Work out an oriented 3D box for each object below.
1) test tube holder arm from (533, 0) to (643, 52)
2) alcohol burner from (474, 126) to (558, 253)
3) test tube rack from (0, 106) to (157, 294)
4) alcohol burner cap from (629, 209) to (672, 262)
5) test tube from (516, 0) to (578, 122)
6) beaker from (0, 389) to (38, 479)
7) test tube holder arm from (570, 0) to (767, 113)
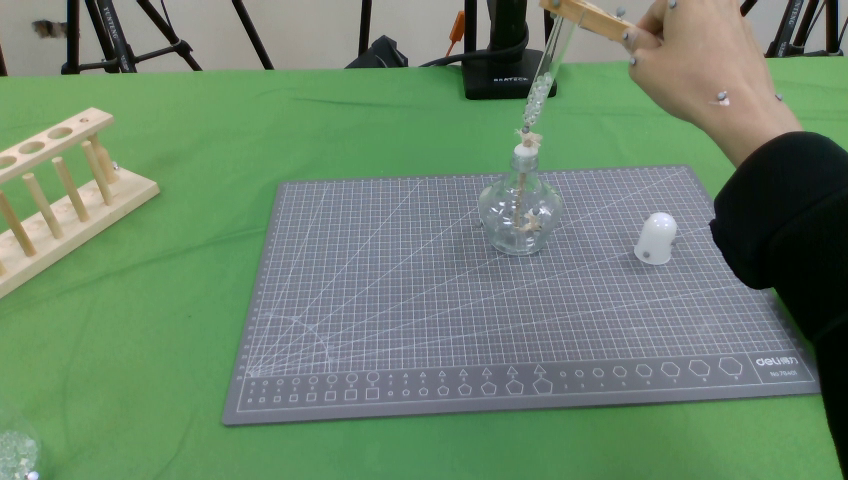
[{"bbox_3d":[0.118,-0.159,0.436,0.087,0.015,0.010,35,41,22],"label":"test tube holder arm"},{"bbox_3d":[0.084,-0.048,0.545,0.078,0.120,0.077,-1,40,1],"label":"alcohol burner"},{"bbox_3d":[-0.375,-0.026,0.554,0.066,0.086,0.241,22,46,23],"label":"test tube rack"},{"bbox_3d":[0.207,-0.006,0.550,0.034,0.048,0.033,-1,41,1],"label":"alcohol burner cap"},{"bbox_3d":[0.099,-0.158,0.460,0.017,0.151,0.017,11,36,-8],"label":"test tube"},{"bbox_3d":[-0.301,0.120,0.379,0.084,0.101,0.073,-19,45,-18],"label":"beaker"},{"bbox_3d":[0.153,-0.136,0.420,0.013,0.015,0.177,-24,53,-40],"label":"test tube holder arm"}]
